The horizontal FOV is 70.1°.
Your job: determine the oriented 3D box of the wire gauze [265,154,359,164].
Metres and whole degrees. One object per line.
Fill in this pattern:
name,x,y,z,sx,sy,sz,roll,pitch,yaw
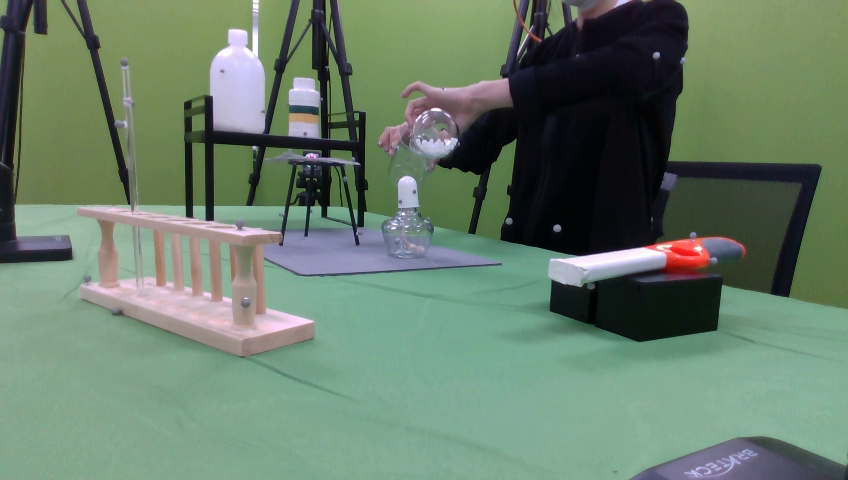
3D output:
wire gauze,-0.181,-0.129,0.969,0.126,0.011,0.121,-1,7,-27

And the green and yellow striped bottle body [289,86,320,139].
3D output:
green and yellow striped bottle body,-0.250,-0.272,1.261,0.063,0.119,0.063,3,7,0

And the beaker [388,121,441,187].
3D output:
beaker,-0.018,-0.142,1.051,0.074,0.100,0.083,-25,65,-33

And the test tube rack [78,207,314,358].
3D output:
test tube rack,-0.196,0.024,0.500,0.241,0.085,0.067,8,8,37

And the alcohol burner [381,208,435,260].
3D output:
alcohol burner,-0.023,-0.032,0.871,0.078,0.119,0.078,0,6,0

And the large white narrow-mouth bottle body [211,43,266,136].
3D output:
large white narrow-mouth bottle body,-0.361,-0.302,1.176,0.102,0.194,0.102,1,7,0

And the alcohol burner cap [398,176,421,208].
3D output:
alcohol burner cap,-0.023,-0.068,0.866,0.034,0.048,0.034,-5,8,1

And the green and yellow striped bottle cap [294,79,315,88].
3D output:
green and yellow striped bottle cap,-0.248,-0.323,1.256,0.045,0.020,0.045,4,9,0

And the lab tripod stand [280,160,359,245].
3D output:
lab tripod stand,-0.176,-0.062,0.973,0.148,0.131,0.148,1,7,0

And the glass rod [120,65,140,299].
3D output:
glass rod,-0.249,-0.047,0.513,0.008,0.199,0.008,-1,4,0

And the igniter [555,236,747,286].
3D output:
igniter,0.221,0.017,0.558,0.278,0.025,0.057,-5,15,-39

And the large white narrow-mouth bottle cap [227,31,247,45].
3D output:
large white narrow-mouth bottle cap,-0.361,-0.388,1.166,0.038,0.024,0.037,1,7,0

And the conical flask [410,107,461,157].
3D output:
conical flask,0.007,-0.162,0.960,0.075,0.075,0.121,0,0,-14
